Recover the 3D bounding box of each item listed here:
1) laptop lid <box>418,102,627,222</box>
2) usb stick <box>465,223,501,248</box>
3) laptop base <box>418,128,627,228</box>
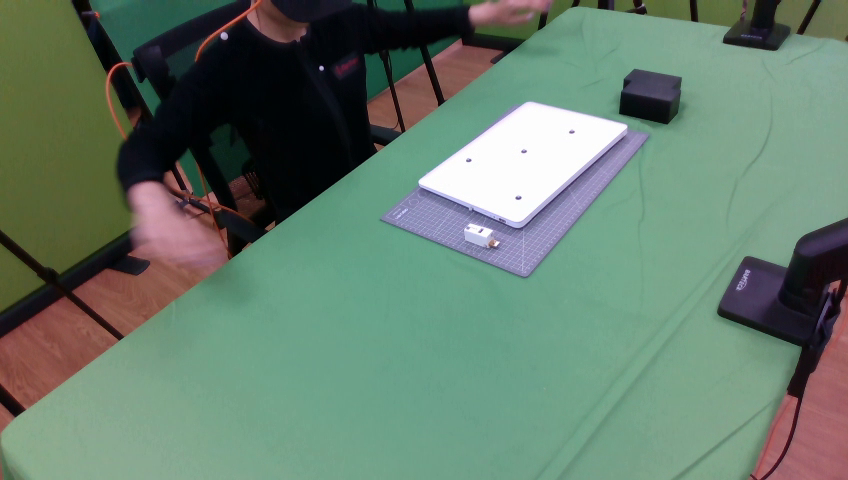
[{"bbox_3d":[0.185,-0.161,1.121,0.239,0.013,0.358,26,51,37],"label":"laptop lid"},{"bbox_3d":[0.094,-0.005,0.962,0.059,0.027,0.021,23,49,29],"label":"usb stick"},{"bbox_3d":[0.189,-0.151,1.127,0.233,0.023,0.355,24,50,37],"label":"laptop base"}]
